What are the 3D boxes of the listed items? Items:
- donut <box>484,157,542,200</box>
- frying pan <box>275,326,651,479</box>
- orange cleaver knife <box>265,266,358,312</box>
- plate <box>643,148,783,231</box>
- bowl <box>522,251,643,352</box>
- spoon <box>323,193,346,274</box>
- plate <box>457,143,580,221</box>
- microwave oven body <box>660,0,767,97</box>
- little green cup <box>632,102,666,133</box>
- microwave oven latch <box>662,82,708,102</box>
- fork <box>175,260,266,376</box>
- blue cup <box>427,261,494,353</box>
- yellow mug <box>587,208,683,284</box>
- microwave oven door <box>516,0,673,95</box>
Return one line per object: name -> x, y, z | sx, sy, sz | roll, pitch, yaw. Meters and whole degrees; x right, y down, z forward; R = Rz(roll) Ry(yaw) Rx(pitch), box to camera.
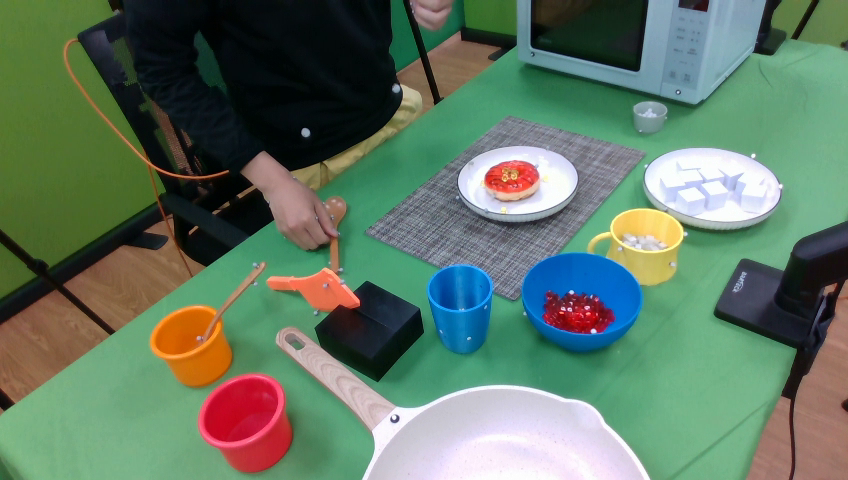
donut -> 0.153, -0.107, 1.039 | 0.099, 0.048, 0.098 | -6, 37, 5
frying pan -> 0.003, 0.229, 0.641 | 0.484, 0.103, 0.308 | 34, 54, 28
orange cleaver knife -> -0.164, 0.073, 0.864 | 0.210, 0.077, 0.012 | -6, 31, 50
plate -> 0.464, -0.079, 0.985 | 0.207, 0.039, 0.206 | -4, 40, 4
bowl -> 0.204, 0.093, 0.792 | 0.151, 0.077, 0.150 | -4, 40, 4
spoon -> -0.150, -0.015, 1.007 | 0.042, 0.022, 0.192 | -5, 40, -3
plate -> 0.162, -0.097, 1.042 | 0.209, 0.038, 0.208 | -4, 40, 4
microwave oven body -> 0.473, -0.517, 1.313 | 0.438, 0.261, 0.327 | 26, 51, 34
little green cup -> 0.434, -0.237, 1.171 | 0.061, 0.039, 0.061 | -5, 40, 5
microwave oven latch -> 0.518, -0.298, 1.203 | 0.078, 0.029, 0.030 | 28, 53, 35
fork -> -0.268, 0.103, 0.792 | 0.207, 0.019, 0.028 | -51, 41, 16
blue cup -> 0.050, 0.095, 0.792 | 0.092, 0.100, 0.092 | -3, 42, 3
yellow mug -> 0.305, 0.009, 0.884 | 0.131, 0.064, 0.099 | -4, 40, 5
microwave oven door -> 0.344, -0.458, 1.256 | 0.353, 0.245, 0.039 | 26, 51, 33
